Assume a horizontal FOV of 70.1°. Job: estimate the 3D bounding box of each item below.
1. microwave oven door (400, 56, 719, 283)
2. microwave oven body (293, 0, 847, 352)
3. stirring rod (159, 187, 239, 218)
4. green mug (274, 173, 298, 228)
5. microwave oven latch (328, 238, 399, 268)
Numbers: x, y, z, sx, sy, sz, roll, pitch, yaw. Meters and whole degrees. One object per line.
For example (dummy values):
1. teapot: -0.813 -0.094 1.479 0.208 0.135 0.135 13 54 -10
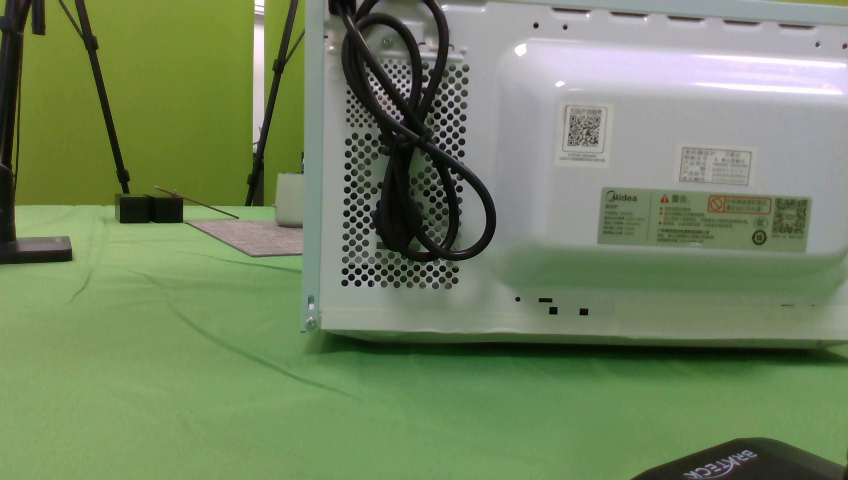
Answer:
1. microwave oven door: 0.155 -0.077 0.697 0.356 0.243 0.039 2 8 -5
2. microwave oven body: 0.122 -0.055 0.550 0.442 0.260 0.325 3 7 -5
3. stirring rod: -0.472 -0.077 1.278 0.177 0.006 0.014 23 -8 -38
4. green mug: -0.242 -0.081 1.221 0.092 0.105 0.126 8 9 39
5. microwave oven latch: -0.069 0.015 0.694 0.079 0.029 0.030 3 7 -3
